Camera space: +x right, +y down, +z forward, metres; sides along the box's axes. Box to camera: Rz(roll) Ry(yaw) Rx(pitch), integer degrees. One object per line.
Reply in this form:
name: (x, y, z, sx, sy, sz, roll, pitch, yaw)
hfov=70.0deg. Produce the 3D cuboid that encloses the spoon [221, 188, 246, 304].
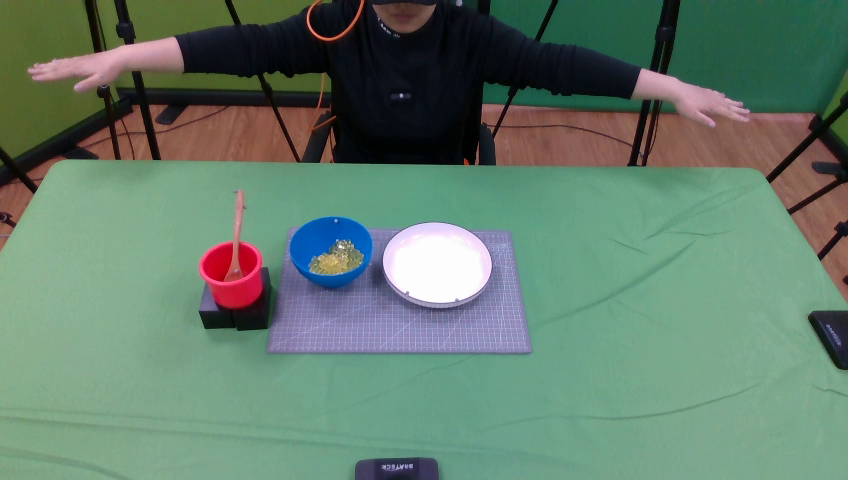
spoon: (-0.312, 0.010, 1.011, 0.041, 0.021, 0.193, 4, 90, 3)

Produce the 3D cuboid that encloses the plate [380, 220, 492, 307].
plate: (0.021, 0.048, 1.137, 0.208, 0.039, 0.206, 2, 46, -2)

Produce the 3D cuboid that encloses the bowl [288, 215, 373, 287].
bowl: (-0.168, 0.034, 1.109, 0.151, 0.077, 0.150, 2, 46, -2)
